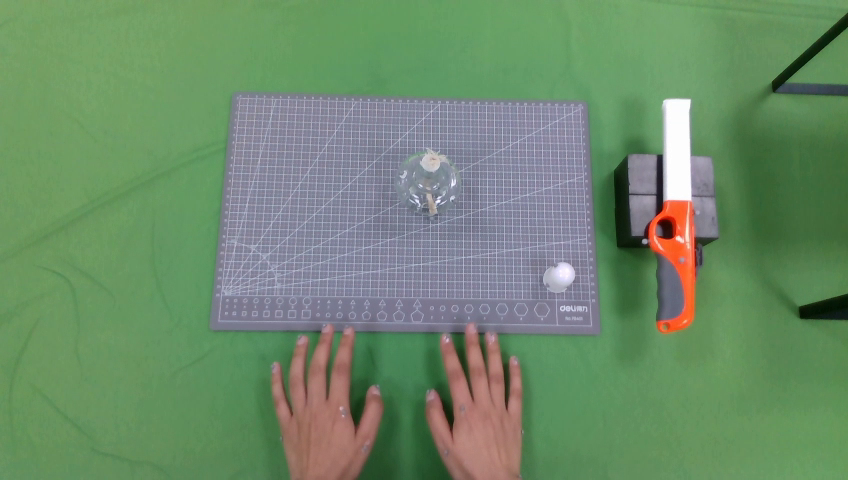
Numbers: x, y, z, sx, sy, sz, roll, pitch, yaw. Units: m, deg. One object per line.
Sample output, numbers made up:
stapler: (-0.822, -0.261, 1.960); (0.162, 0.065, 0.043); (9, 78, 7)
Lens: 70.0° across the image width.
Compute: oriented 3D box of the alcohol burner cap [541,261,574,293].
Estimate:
alcohol burner cap: (0.156, 0.041, 0.700); (0.034, 0.048, 0.033); (0, 75, -1)

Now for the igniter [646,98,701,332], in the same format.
igniter: (0.282, -0.033, 0.684); (0.057, 0.025, 0.275); (3, 75, 11)

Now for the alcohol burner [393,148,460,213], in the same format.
alcohol burner: (0.004, -0.073, 0.686); (0.078, 0.119, 0.077); (1, 76, -3)
